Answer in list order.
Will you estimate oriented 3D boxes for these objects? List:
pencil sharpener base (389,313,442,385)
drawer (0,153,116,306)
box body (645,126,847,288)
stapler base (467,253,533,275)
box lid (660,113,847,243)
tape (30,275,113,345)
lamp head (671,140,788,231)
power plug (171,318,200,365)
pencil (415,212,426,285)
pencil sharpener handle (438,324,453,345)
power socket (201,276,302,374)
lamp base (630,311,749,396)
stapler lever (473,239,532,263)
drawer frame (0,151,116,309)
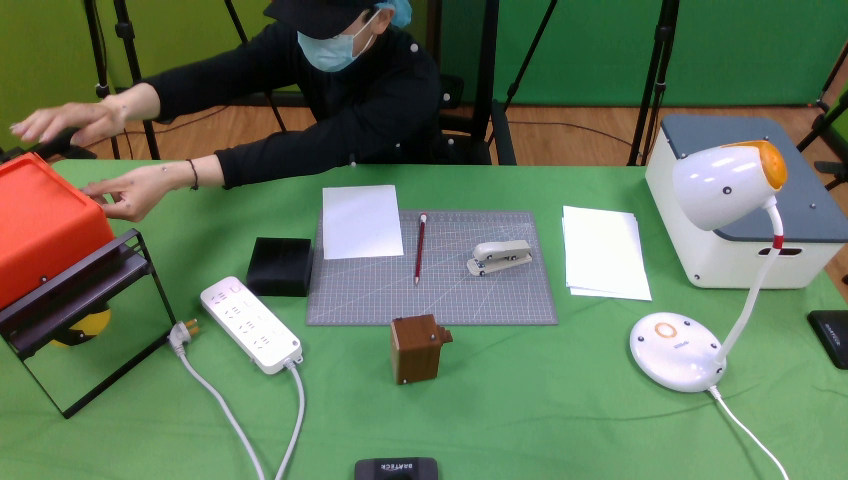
[{"bbox_3d":[-0.013,0.175,0.971,0.077,0.107,0.061,-8,47,-11],"label":"pencil sharpener base"},{"bbox_3d":[-0.601,-0.015,0.880,0.193,0.073,0.211,32,53,24],"label":"drawer"},{"bbox_3d":[0.625,-0.080,1.222,0.254,0.161,0.361,0,46,-3],"label":"box body"},{"bbox_3d":[0.148,0.034,1.172,0.131,0.024,0.041,-12,49,-17],"label":"stapler base"},{"bbox_3d":[0.628,-0.133,1.170,0.263,0.015,0.369,1,46,-3],"label":"box lid"},{"bbox_3d":[-0.593,0.117,1.021,0.117,0.053,0.116,3,46,-2],"label":"tape"},{"bbox_3d":[0.415,-0.078,0.811,0.113,0.123,0.112,12,70,-37],"label":"lamp head"},{"bbox_3d":[-0.392,0.167,1.015,0.052,0.035,0.072,-29,92,-24],"label":"power plug"},{"bbox_3d":[-0.007,0.014,1.190,0.012,0.012,0.193,5,47,0],"label":"pencil"},{"bbox_3d":[0.036,0.155,0.976,0.031,0.068,0.036,-8,69,-11],"label":"pencil sharpener handle"},{"bbox_3d":[-0.297,0.141,1.034,0.072,0.033,0.225,-34,58,-30],"label":"power socket"},{"bbox_3d":[0.447,0.143,0.983,0.161,0.181,0.178,-24,55,-24],"label":"lamp base"},{"bbox_3d":[0.150,0.017,1.155,0.118,0.040,0.026,-13,50,-17],"label":"stapler lever"},{"bbox_3d":[-0.604,-0.013,0.875,0.201,0.083,0.213,31,52,23],"label":"drawer frame"}]
